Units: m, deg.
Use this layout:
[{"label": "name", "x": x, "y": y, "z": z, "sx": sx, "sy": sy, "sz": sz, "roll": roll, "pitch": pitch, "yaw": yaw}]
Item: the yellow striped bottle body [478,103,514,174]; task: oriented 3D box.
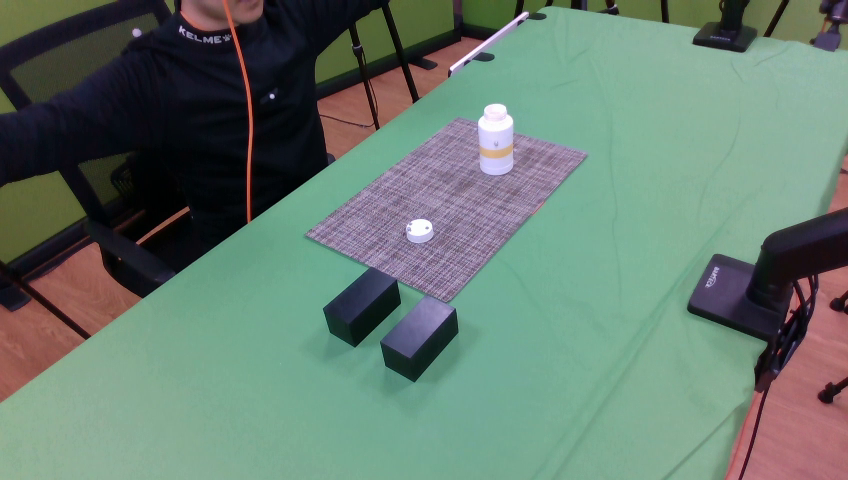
[{"label": "yellow striped bottle body", "x": 0.129, "y": -0.183, "z": 1.080, "sx": 0.063, "sy": 0.121, "sz": 0.062, "roll": -4, "pitch": 41, "yaw": 4}]

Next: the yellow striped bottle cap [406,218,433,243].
[{"label": "yellow striped bottle cap", "x": -0.007, "y": -0.016, "z": 0.987, "sx": 0.044, "sy": 0.019, "sz": 0.044, "roll": -4, "pitch": 43, "yaw": 4}]
